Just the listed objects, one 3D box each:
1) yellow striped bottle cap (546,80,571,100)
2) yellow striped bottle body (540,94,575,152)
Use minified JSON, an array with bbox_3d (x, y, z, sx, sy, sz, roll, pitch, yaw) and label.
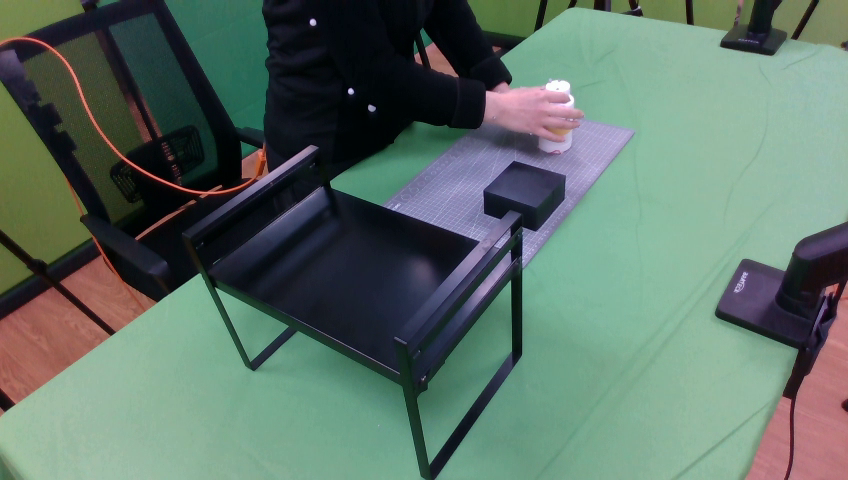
[{"bbox_3d":[0.243,-0.271,1.090,0.044,0.019,0.044,-4,41,4],"label":"yellow striped bottle cap"},{"bbox_3d":[0.249,-0.230,1.126,0.063,0.121,0.062,-5,42,5],"label":"yellow striped bottle body"}]
